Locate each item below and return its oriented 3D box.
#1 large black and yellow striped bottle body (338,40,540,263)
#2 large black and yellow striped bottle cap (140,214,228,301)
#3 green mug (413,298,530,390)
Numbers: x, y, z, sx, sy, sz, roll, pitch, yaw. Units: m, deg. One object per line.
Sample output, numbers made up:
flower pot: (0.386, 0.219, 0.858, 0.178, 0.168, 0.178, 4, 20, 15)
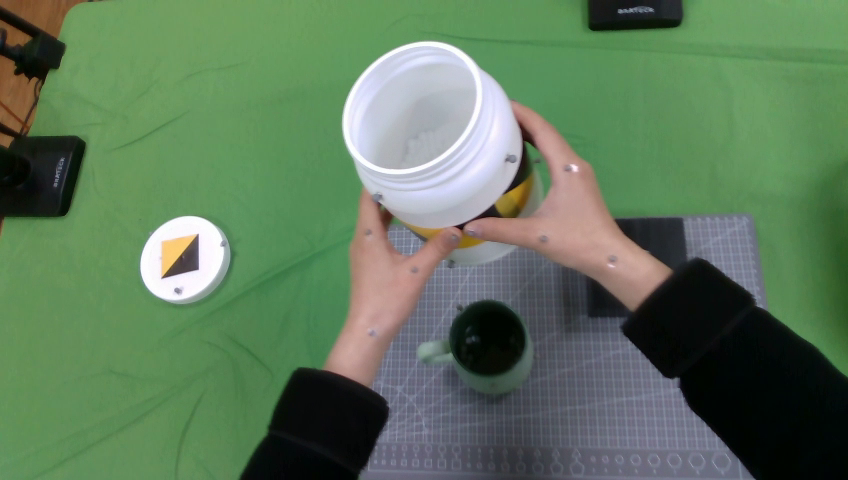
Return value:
large black and yellow striped bottle body: (0.018, -0.067, 0.510, 0.130, 0.186, 0.130, -7, 68, 19)
large black and yellow striped bottle cap: (-0.311, 0.021, 0.783, 0.115, 0.019, 0.114, -3, 70, 8)
green mug: (0.050, 0.113, 0.648, 0.125, 0.106, 0.092, -8, 71, 6)
